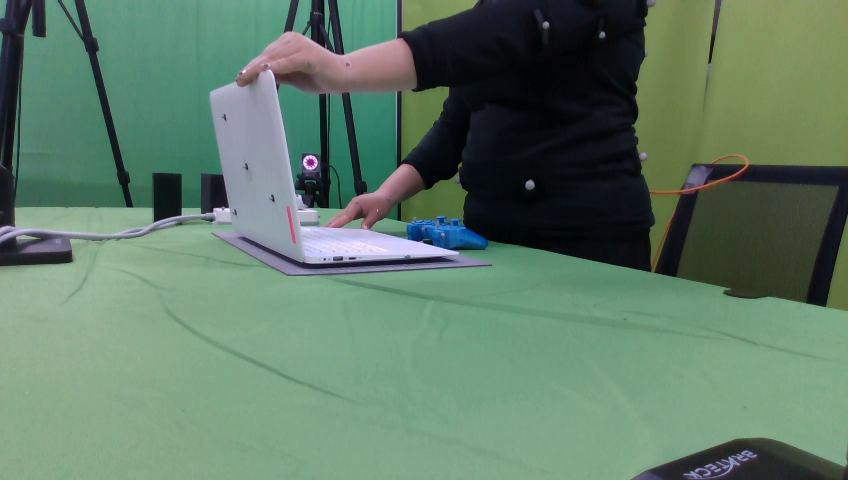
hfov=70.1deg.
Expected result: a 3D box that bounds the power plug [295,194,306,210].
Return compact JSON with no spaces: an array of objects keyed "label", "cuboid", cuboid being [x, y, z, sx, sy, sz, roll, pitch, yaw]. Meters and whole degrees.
[{"label":"power plug","cuboid":[-0.283,-0.075,1.342,0.035,0.052,0.072,0,3,-18]}]

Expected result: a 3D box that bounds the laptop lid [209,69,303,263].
[{"label":"laptop lid","cuboid":[-0.250,-0.106,0.863,0.013,0.241,0.355,-13,15,-29]}]

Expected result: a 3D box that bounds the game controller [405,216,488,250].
[{"label":"game controller","cuboid":[0.034,-0.013,1.067,0.097,0.051,0.154,-6,10,-29]}]

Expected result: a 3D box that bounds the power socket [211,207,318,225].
[{"label":"power socket","cuboid":[-0.335,-0.051,1.281,0.228,0.032,0.072,-1,9,-29]}]

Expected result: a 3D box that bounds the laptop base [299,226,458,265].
[{"label":"laptop base","cuboid":[-0.137,0.006,0.951,0.237,0.023,0.352,2,6,-32]}]

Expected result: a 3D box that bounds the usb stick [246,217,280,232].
[{"label":"usb stick","cuboid":[-0.297,-0.028,1.113,0.059,0.027,0.021,-5,13,-31]}]
